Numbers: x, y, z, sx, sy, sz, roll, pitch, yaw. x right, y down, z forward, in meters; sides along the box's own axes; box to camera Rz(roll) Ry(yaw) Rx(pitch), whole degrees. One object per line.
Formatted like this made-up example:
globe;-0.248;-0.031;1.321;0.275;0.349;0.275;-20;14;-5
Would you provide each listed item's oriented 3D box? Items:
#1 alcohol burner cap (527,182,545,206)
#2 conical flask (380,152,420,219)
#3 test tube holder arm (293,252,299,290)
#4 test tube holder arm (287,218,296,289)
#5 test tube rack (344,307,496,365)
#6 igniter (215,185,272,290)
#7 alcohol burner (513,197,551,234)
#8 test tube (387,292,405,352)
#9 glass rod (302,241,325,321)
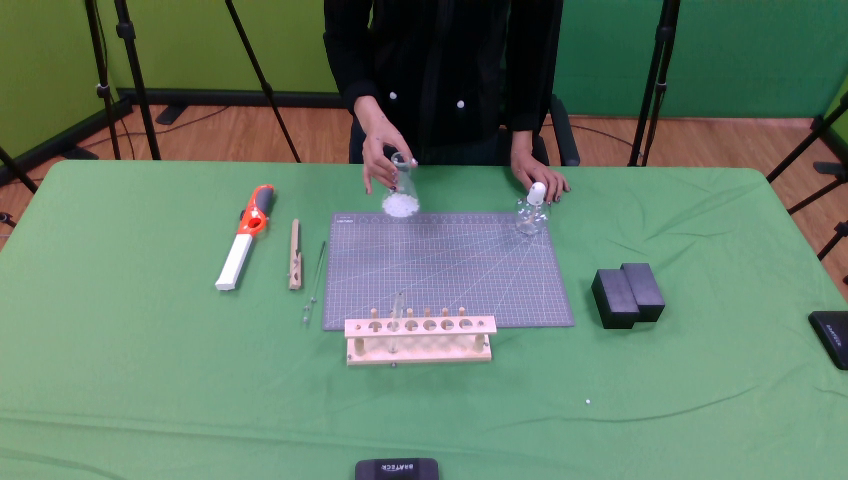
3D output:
alcohol burner cap;0.222;-0.092;1.190;0.034;0.048;0.033;2;54;-3
conical flask;-0.043;-0.104;1.121;0.075;0.122;0.075;2;44;-2
test tube holder arm;-0.241;0.056;1.131;0.010;0.015;0.087;24;35;-33
test tube holder arm;-0.253;0.022;1.158;0.013;0.015;0.177;23;36;-34
test tube rack;-0.009;0.154;1.007;0.242;0.085;0.066;-1;46;-5
igniter;-0.347;-0.014;1.182;0.057;0.025;0.275;-1;45;8
alcohol burner;0.220;-0.069;1.217;0.078;0.119;0.077;3;47;-3
test tube;-0.045;0.133;0.955;0.017;0.151;0.017;5;47;-5
glass rod;-0.204;0.071;1.124;0.008;0.008;0.198;4;44;0
